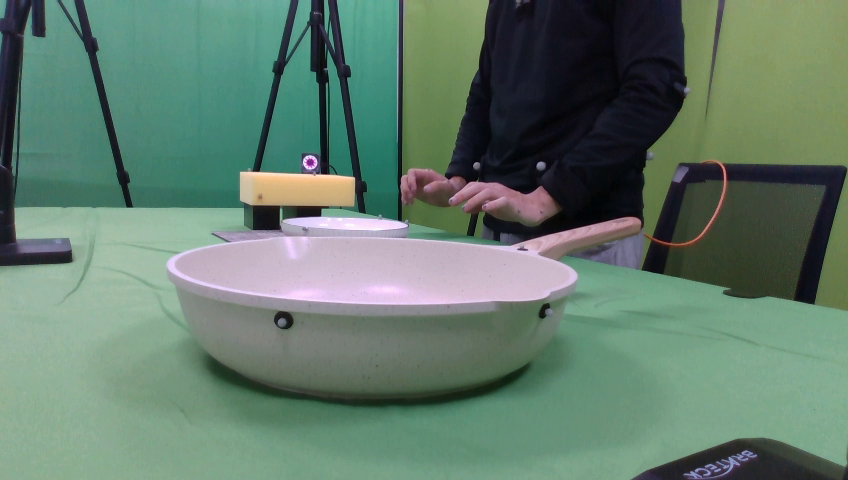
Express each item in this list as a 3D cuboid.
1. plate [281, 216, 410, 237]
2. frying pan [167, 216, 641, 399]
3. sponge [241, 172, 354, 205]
[{"bbox_3d":[-0.126,-0.012,0.986,0.208,0.039,0.207,2,7,0],"label":"plate"},{"bbox_3d":[0.046,0.024,0.519,0.490,0.102,0.305,-14,16,-37],"label":"frying pan"},{"bbox_3d":[-0.257,-0.104,1.226,0.208,0.061,0.117,-2,8,-28],"label":"sponge"}]
